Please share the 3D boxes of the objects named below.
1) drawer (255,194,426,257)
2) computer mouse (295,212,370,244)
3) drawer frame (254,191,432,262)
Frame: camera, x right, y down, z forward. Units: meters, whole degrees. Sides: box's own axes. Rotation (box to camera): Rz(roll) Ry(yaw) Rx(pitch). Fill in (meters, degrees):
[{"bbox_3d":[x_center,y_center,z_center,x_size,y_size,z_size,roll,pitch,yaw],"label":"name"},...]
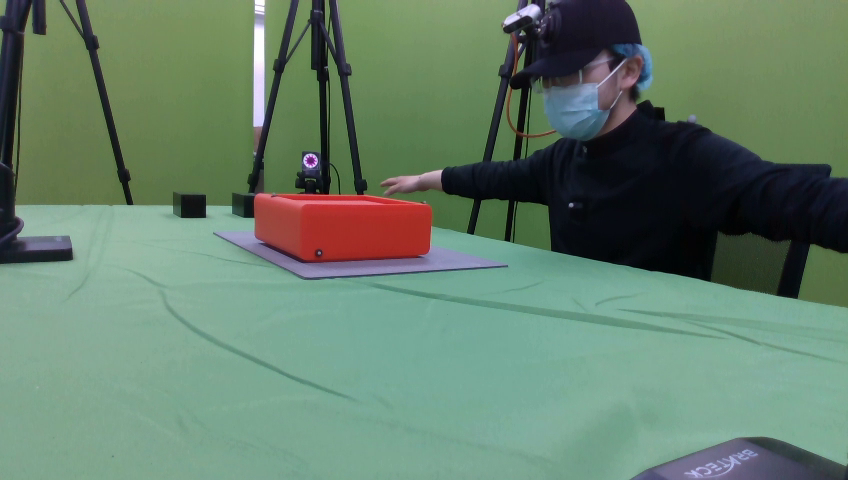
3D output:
[{"bbox_3d":[-0.130,-0.026,0.912,0.195,0.073,0.210,-1,9,-31],"label":"drawer"},{"bbox_3d":[-0.143,-0.019,0.948,0.117,0.041,0.062,-5,16,-2],"label":"computer mouse"},{"bbox_3d":[-0.128,-0.027,0.911,0.203,0.082,0.212,-1,9,-32],"label":"drawer frame"}]
